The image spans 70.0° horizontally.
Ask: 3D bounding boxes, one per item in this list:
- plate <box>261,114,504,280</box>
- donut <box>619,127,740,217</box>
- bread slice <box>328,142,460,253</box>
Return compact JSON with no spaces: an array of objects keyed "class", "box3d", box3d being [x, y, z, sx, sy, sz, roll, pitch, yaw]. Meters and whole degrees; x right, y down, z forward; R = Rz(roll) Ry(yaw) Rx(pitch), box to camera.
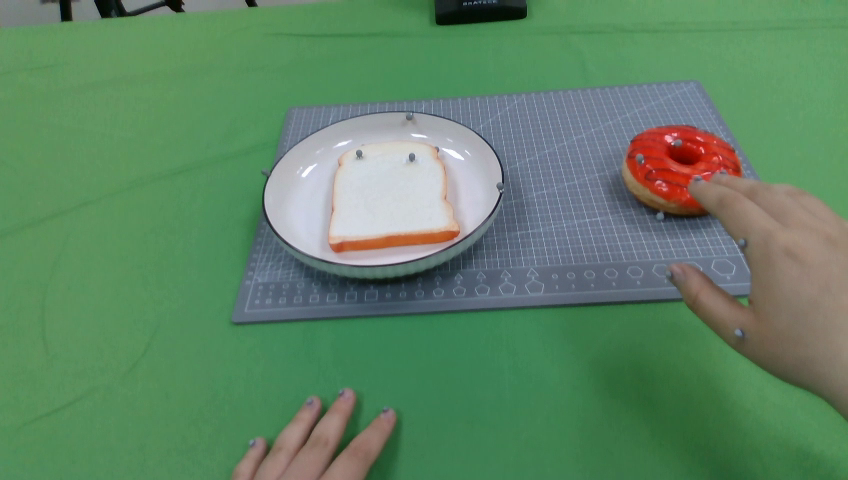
[{"class":"plate","box3d":[-0.034,-0.038,0.532,0.209,0.038,0.207,-2,45,3]},{"class":"donut","box3d":[0.220,-0.059,0.524,0.099,0.049,0.098,-1,46,2]},{"class":"bread slice","box3d":[-0.032,-0.041,0.536,0.107,0.018,0.133,-7,45,-4]}]
